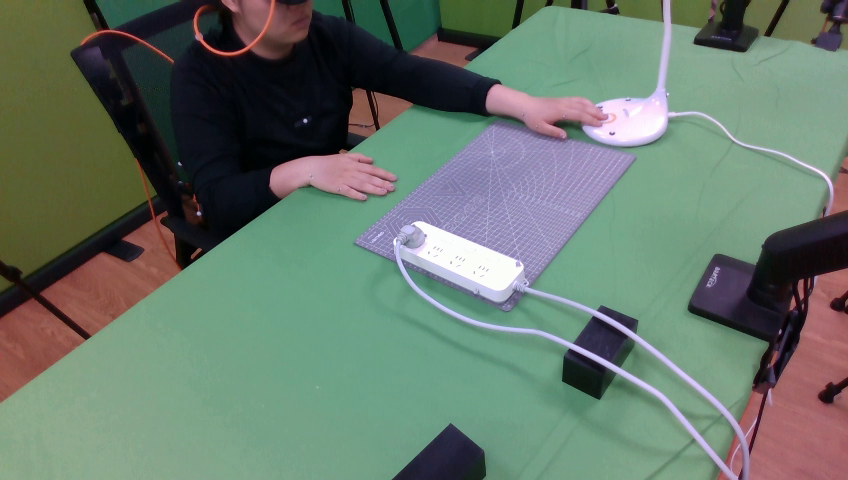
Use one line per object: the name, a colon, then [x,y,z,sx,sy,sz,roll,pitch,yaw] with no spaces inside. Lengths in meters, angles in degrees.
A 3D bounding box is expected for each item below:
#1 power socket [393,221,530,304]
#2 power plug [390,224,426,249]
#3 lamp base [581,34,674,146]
power socket: [0.049,0.030,0.914,0.225,0.033,0.072,24,51,31]
power plug: [-0.030,0.004,0.920,0.073,0.053,0.035,-33,47,-26]
lamp base: [0.392,-0.291,1.129,0.180,0.181,0.159,-11,41,-8]
